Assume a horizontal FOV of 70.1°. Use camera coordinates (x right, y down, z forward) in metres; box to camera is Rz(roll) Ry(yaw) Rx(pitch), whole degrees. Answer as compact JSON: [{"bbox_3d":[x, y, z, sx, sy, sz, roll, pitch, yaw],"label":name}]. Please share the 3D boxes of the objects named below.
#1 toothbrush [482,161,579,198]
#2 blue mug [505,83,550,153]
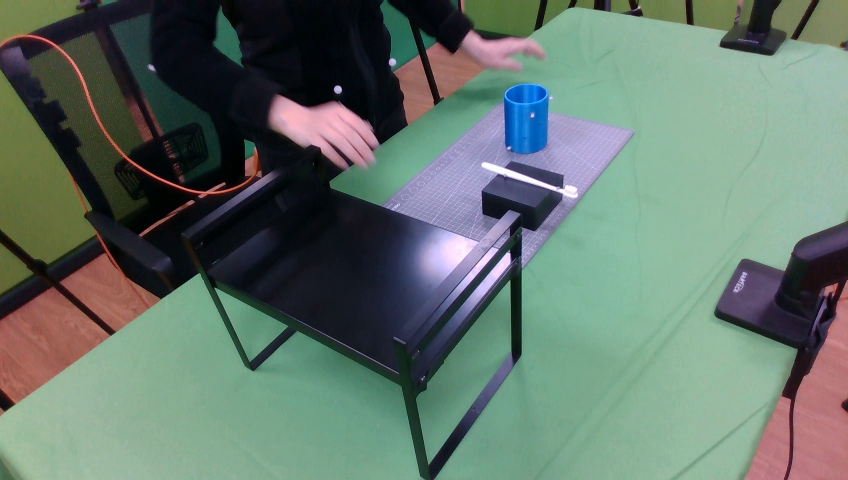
[{"bbox_3d":[0.172,-0.103,0.996,0.180,0.017,0.014,23,57,31],"label":"toothbrush"},{"bbox_3d":[0.204,-0.242,1.160,0.082,0.106,0.116,14,45,24],"label":"blue mug"}]
